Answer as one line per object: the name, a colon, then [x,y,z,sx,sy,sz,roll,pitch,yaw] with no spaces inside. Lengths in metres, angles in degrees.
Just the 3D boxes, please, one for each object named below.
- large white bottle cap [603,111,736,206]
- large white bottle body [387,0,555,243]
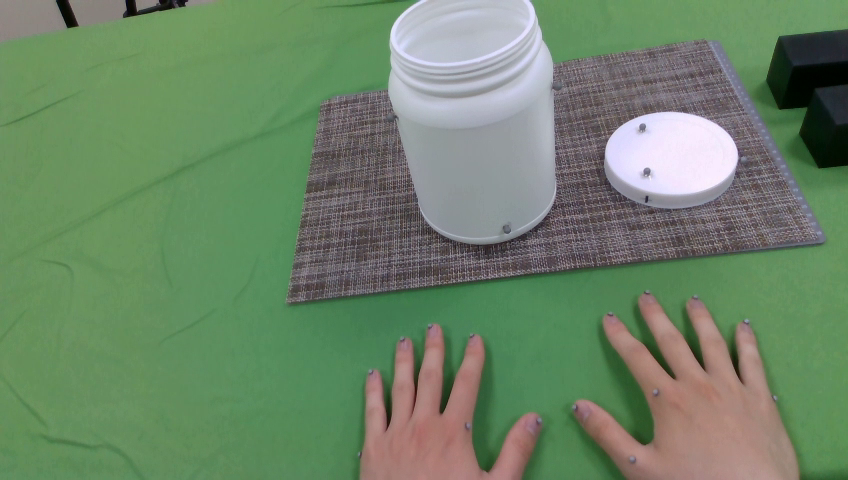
large white bottle cap: [0.225,-0.078,0.561,0.115,0.018,0.113,-6,49,8]
large white bottle body: [0.043,-0.101,0.511,0.130,0.186,0.129,-7,48,8]
